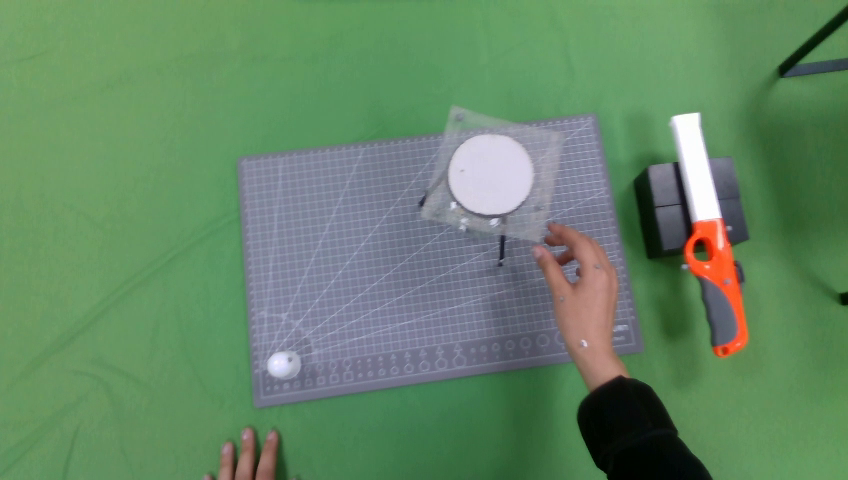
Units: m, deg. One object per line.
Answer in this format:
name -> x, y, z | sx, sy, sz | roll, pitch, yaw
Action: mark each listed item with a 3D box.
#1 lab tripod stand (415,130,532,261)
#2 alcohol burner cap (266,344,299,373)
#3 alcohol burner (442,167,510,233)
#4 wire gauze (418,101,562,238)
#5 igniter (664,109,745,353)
lab tripod stand -> 0.064, -0.059, 0.671 | 0.148, 0.132, 0.147 | 0, 76, -1
alcohol burner cap -> -0.160, 0.131, 0.673 | 0.034, 0.048, 0.033 | 0, 78, -2
alcohol burner -> 0.059, -0.048, 0.678 | 0.078, 0.119, 0.077 | 0, 80, 0
wire gauze -> 0.068, -0.071, 0.605 | 0.121, 0.011, 0.124 | 15, 77, 2
igniter -> 0.312, -0.014, 0.676 | 0.057, 0.025, 0.275 | -8, 78, 3
